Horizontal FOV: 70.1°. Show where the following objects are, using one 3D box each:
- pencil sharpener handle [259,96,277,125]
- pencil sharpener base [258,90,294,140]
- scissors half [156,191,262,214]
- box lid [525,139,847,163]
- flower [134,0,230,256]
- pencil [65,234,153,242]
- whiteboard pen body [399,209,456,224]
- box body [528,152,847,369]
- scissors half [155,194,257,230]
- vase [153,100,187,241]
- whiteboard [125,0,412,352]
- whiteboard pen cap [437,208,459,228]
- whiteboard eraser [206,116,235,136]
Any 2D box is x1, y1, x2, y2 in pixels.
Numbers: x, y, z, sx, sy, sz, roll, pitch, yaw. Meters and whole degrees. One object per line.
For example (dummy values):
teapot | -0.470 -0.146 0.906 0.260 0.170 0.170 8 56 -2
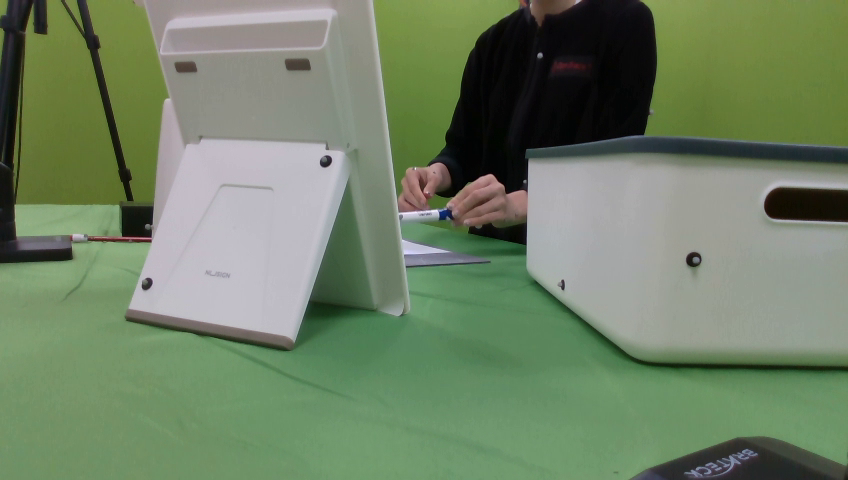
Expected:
pencil sharpener handle | -0.373 -0.304 1.425 0.036 0.067 0.030 13 -1 -37
pencil sharpener base | -0.341 -0.285 1.388 0.062 0.107 0.076 -3 9 -36
scissors half | -0.371 -0.069 1.051 0.176 0.040 0.013 2 26 -24
box lid | 0.261 -0.078 0.580 0.264 0.015 0.371 2 7 -4
flower | -0.282 -0.146 0.713 0.038 0.362 0.044 -23 23 -31
pencil | -0.429 -0.001 0.911 0.195 0.012 0.012 1 7 -20
whiteboard pen body | -0.022 -0.031 0.827 0.141 0.017 0.017 -6 10 -19
box body | 0.258 -0.005 0.591 0.254 0.160 0.363 2 7 -4
scissors half | -0.378 -0.052 1.059 0.176 0.040 0.012 20 23 -31
vase | -0.278 -0.066 0.736 0.098 0.200 0.098 2 9 0
whiteboard | -0.151 -0.049 0.472 0.216 0.305 0.144 6 27 24
whiteboard pen cap | 0.032 -0.032 0.848 0.033 0.018 0.018 33 -9 -30
whiteboard eraser | -0.449 -0.251 1.335 0.056 0.042 0.112 1 7 -22
